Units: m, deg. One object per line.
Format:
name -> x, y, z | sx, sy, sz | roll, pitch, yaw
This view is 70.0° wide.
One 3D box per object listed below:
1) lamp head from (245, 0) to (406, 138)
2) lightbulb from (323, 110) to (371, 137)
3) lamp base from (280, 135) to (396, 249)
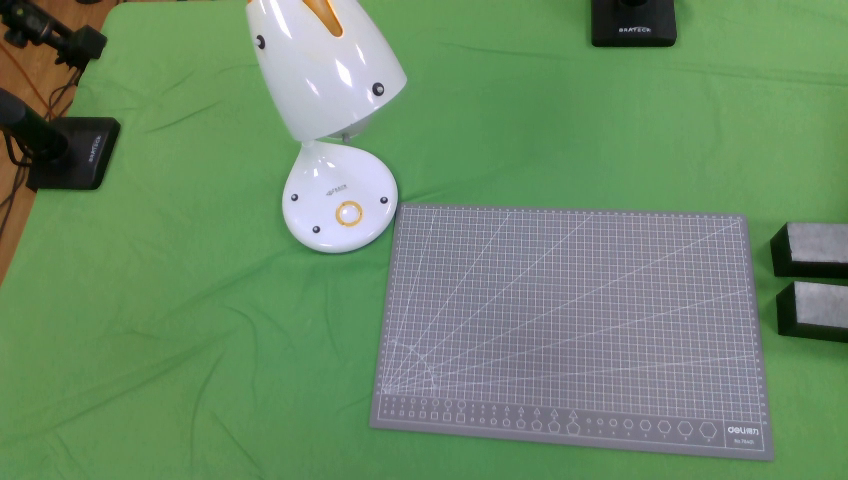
lamp head -> -0.090, -0.161, 0.495 | 0.112, 0.124, 0.111 | -25, 24, 12
lightbulb -> -0.082, -0.138, 0.501 | 0.059, 0.108, 0.059 | -16, 28, 9
lamp base -> -0.134, -0.101, 0.764 | 0.160, 0.182, 0.177 | -35, 65, -9
